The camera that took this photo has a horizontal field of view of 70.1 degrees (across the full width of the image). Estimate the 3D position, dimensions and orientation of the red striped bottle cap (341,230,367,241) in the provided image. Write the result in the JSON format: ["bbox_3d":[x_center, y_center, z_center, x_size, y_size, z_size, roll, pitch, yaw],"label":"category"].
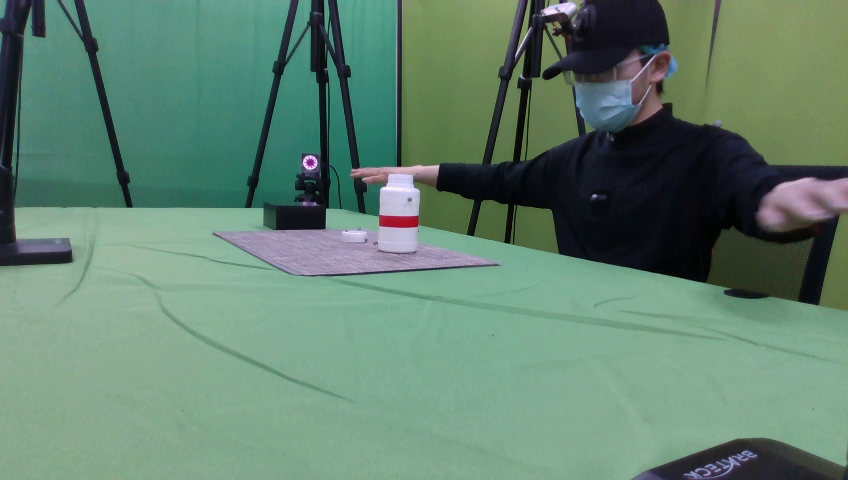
[{"bbox_3d":[-0.120,-0.008,1.034,0.044,0.017,0.044,-2,2,0],"label":"red striped bottle cap"}]

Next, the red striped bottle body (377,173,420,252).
[{"bbox_3d":[-0.039,-0.044,0.936,0.063,0.119,0.063,2,7,0],"label":"red striped bottle body"}]
